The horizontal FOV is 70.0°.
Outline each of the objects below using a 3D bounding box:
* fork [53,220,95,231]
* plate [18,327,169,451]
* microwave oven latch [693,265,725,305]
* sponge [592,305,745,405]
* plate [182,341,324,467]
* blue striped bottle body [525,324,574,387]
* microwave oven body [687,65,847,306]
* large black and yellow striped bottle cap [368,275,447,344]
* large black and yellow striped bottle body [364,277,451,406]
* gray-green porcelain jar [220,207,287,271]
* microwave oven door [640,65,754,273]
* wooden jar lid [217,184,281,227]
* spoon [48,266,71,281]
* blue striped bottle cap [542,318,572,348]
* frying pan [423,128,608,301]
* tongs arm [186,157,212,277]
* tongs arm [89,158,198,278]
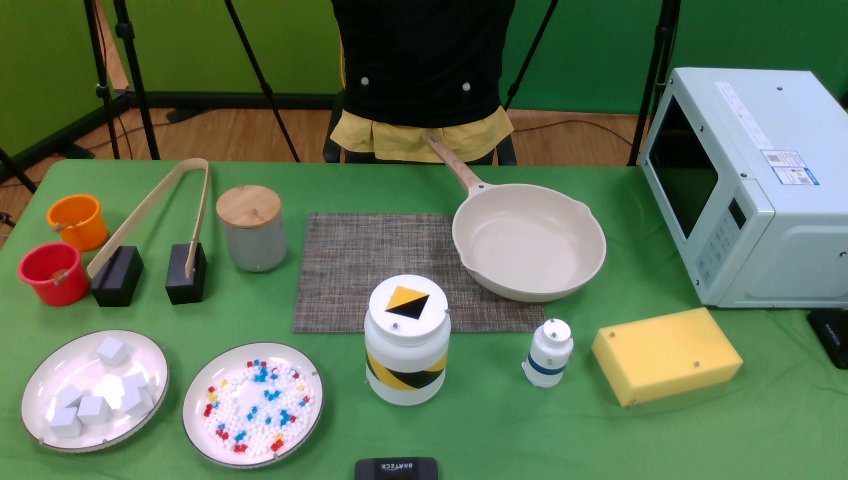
[{"bbox_3d":[-0.627,-0.026,1.086,0.028,0.018,0.207,0,2,-15],"label":"fork"},{"bbox_3d":[-0.498,0.229,0.929,0.208,0.039,0.206,2,47,-2],"label":"plate"},{"bbox_3d":[0.523,0.082,1.116,0.030,0.029,0.078,2,46,-1],"label":"microwave oven latch"},{"bbox_3d":[0.405,0.190,1.014,0.207,0.061,0.117,-10,48,-12],"label":"sponge"},{"bbox_3d":[-0.257,0.250,0.927,0.209,0.038,0.208,3,46,-2],"label":"plate"},{"bbox_3d":[0.202,0.179,0.970,0.063,0.121,0.062,2,46,-2],"label":"blue striped bottle body"},{"bbox_3d":[0.669,-0.111,1.176,0.326,0.261,0.439,0,46,-3],"label":"microwave oven body"},{"bbox_3d":[-0.024,0.098,0.871,0.115,0.019,0.114,2,45,-2],"label":"large black and yellow striped bottle cap"},{"bbox_3d":[-0.026,0.155,0.933,0.131,0.185,0.130,2,47,-2],"label":"large black and yellow striped bottle body"},{"bbox_3d":[-0.309,-0.014,1.113,0.106,0.127,0.105,2,47,-1],"label":"gray-green porcelain jar"},{"bbox_3d":[0.523,-0.147,1.193,0.039,0.245,0.353,0,47,-3],"label":"microwave oven door"},{"bbox_3d":[-0.307,-0.057,1.067,0.108,0.021,0.107,5,44,-4],"label":"wooden jar lid"},{"bbox_3d":[-0.609,0.057,1.010,0.041,0.022,0.193,-33,14,-27],"label":"spoon"},{"bbox_3d":[0.205,0.143,0.933,0.044,0.021,0.044,0,47,0],"label":"blue striped bottle cap"},{"bbox_3d":[0.142,-0.069,1.208,0.307,0.103,0.485,-23,60,-25],"label":"frying pan"},{"bbox_3d":[-0.445,-0.058,1.168,0.051,0.026,0.382,-5,37,-6],"label":"tongs arm"},{"bbox_3d":[-0.530,-0.057,1.164,0.028,0.028,0.385,1,36,8],"label":"tongs arm"}]
